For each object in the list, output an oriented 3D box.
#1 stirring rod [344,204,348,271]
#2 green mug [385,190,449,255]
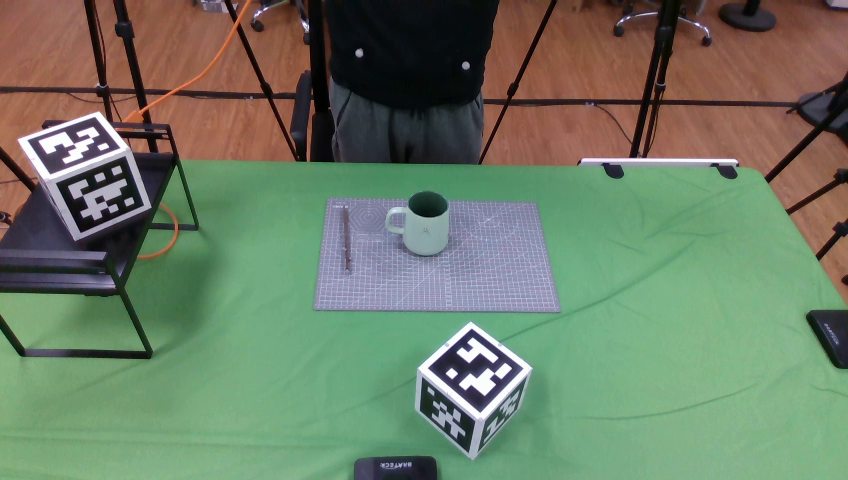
[{"bbox_3d":[-0.154,-0.007,1.191,0.006,0.014,0.175,-7,47,-2],"label":"stirring rod"},{"bbox_3d":[-0.013,-0.033,1.166,0.125,0.105,0.092,2,46,-2],"label":"green mug"}]
